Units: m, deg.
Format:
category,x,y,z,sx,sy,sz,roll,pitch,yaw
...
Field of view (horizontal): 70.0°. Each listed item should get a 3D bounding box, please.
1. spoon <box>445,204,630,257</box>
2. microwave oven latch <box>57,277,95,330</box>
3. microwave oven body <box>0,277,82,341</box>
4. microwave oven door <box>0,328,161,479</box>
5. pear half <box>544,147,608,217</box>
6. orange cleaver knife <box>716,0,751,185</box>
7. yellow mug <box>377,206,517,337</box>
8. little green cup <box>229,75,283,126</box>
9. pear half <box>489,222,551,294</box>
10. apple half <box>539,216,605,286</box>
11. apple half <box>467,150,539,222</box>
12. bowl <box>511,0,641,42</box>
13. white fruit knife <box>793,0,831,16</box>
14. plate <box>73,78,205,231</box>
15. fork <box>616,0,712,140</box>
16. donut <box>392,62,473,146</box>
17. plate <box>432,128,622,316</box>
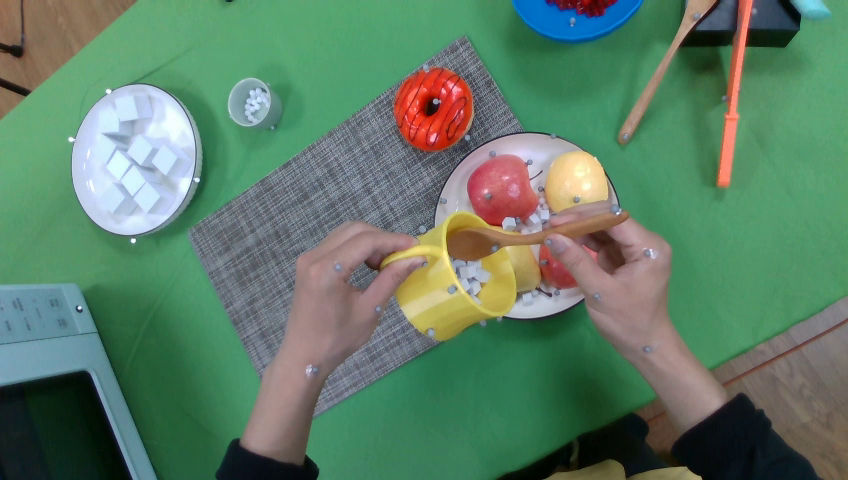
category,x,y,z,sx,sy,sz,roll,pitch,yaw
spoon,0.082,-0.005,0.485,0.042,0.193,0.021,39,65,-25
microwave oven latch,-0.488,0.089,0.838,0.030,0.029,0.079,-27,82,13
microwave oven body,-0.561,0.312,0.754,0.326,0.261,0.440,-29,82,13
microwave oven door,-0.421,0.280,0.708,0.039,0.245,0.354,-29,81,13
pear half,0.158,-0.055,0.652,0.070,0.031,0.088,1,99,39
orange cleaver knife,0.310,-0.163,0.605,0.012,0.077,0.213,6,116,21
yellow mug,0.017,0.025,0.523,0.064,0.132,0.099,-30,59,34
little green cup,-0.215,-0.177,0.782,0.061,0.039,0.061,-1,88,17
pear half,0.095,0.028,0.669,0.109,0.056,0.076,33,102,9
apple half,0.151,0.014,0.650,0.081,0.033,0.081,7,101,38
apple half,0.085,-0.059,0.670,0.074,0.053,0.080,-14,88,17
bowl,0.167,-0.280,0.652,0.151,0.077,0.151,0,89,16
white fruit knife,0.325,-0.300,0.587,0.027,0.016,0.206,-25,79,-15
plate,-0.386,-0.115,0.832,0.207,0.039,0.207,0,89,16
fork,0.251,-0.194,0.620,0.028,0.018,0.208,27,117,7
donut,0.009,-0.159,0.709,0.098,0.048,0.099,0,91,19
plate,0.114,-0.020,0.679,0.208,0.038,0.209,-1,89,16
